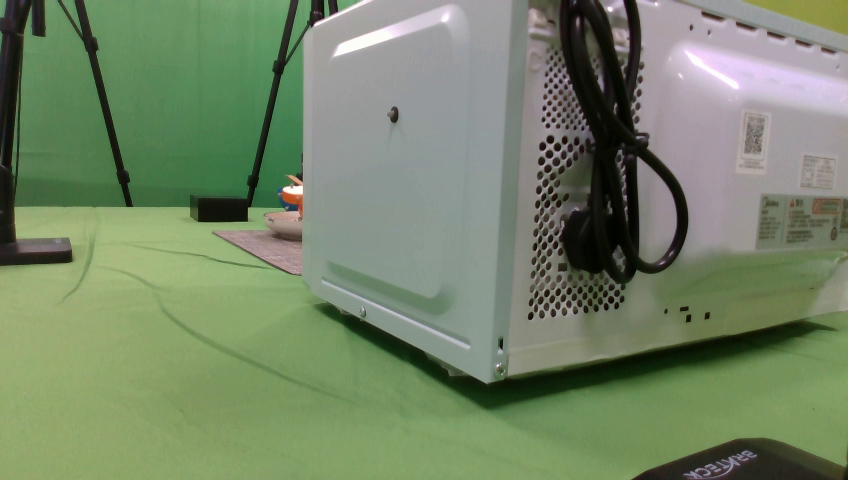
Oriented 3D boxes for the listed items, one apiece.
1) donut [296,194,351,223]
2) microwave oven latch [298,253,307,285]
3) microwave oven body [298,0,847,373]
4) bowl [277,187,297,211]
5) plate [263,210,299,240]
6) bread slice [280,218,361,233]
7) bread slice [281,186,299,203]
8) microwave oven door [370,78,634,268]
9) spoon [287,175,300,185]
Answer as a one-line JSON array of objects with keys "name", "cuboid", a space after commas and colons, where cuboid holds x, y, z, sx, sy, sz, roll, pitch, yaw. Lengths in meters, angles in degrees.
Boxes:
[{"name": "donut", "cuboid": [-0.179, -0.057, 1.078, 0.099, 0.048, 0.099, 4, -3, 0]}, {"name": "microwave oven latch", "cuboid": [-0.082, 0.027, 0.583, 0.079, 0.029, 0.030, -1, 7, -33]}, {"name": "microwave oven body", "cuboid": [0.151, -0.055, 0.543, 0.444, 0.260, 0.324, -1, 7, -33]}, {"name": "bowl", "cuboid": [-0.241, -0.073, 1.303, 0.151, 0.077, 0.151, 2, 7, 0]}, {"name": "plate", "cuboid": [-0.180, -0.025, 1.079, 0.208, 0.039, 0.207, 3, 7, 0]}, {"name": "bread slice", "cuboid": [-0.187, -0.025, 1.075, 0.135, 0.018, 0.106, -1, 7, -22]}, {"name": "bread slice", "cuboid": [-0.185, -0.082, 1.071, 0.132, 0.019, 0.104, -2, 14, -18]}, {"name": "microwave oven door", "cuboid": [0.096, -0.099, 0.836, 0.355, 0.243, 0.039, 5, 8, 20]}, {"name": "spoon", "cuboid": [-0.262, -0.110, 1.342, 0.042, 0.021, 0.192, -7, 33, -34]}]
